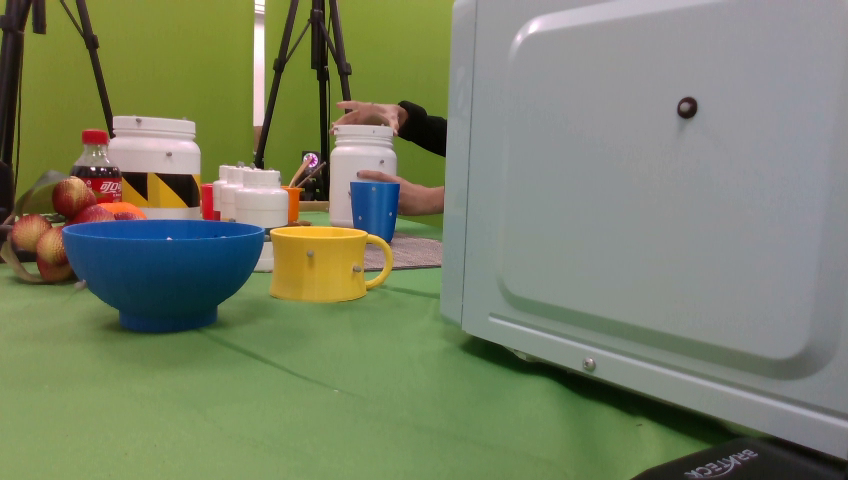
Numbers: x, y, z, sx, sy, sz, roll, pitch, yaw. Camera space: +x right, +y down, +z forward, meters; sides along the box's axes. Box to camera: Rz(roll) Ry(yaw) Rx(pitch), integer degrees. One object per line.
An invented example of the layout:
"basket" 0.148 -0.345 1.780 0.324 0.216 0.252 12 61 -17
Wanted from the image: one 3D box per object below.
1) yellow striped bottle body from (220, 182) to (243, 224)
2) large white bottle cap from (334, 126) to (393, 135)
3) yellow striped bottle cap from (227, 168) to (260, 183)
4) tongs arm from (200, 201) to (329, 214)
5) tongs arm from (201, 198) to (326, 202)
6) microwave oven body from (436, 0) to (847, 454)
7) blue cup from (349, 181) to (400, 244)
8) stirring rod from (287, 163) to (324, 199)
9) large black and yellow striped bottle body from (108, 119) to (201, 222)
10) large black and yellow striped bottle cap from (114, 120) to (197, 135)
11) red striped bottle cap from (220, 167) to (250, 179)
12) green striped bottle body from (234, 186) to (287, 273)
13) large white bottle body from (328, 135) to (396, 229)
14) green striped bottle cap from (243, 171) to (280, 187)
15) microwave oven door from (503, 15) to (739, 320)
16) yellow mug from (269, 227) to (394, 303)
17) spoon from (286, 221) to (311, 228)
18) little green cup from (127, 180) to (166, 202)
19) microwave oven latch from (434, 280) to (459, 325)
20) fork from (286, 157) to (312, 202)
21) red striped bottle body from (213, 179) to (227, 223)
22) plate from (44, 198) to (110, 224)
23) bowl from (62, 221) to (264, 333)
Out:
"yellow striped bottle body" -0.245 -0.036 0.825 0.063 0.120 0.063 3 8 0
"large white bottle cap" -0.118 -0.211 1.176 0.115 0.018 0.115 1 8 0
"yellow striped bottle cap" -0.243 -0.087 0.818 0.044 0.018 0.044 3 6 0
"tongs arm" -0.378 -0.079 1.440 0.387 0.026 0.050 -4 8 -44
"tongs arm" -0.433 -0.090 1.508 0.390 0.028 0.028 -1 2 -29
"microwave oven body" 0.279 -0.040 0.465 0.444 0.260 0.324 -3 9 -41
"blue cup" -0.083 -0.047 1.011 0.093 0.100 0.092 2 6 0
"stirring rod" -0.278 -0.105 1.293 0.176 0.006 0.014 -46 25 -18
"large black and yellow striped bottle body" -0.412 -0.088 0.930 0.131 0.184 0.130 3 7 0
"large black and yellow striped bottle cap" -0.407 -0.171 0.920 0.115 0.019 0.115 2 9 0
"red striped bottle cap" -0.281 -0.100 0.901 0.044 0.017 0.044 -1 5 0
"green striped bottle body" -0.200 -0.023 0.743 0.063 0.119 0.063 2 7 0
"large white bottle body" -0.120 -0.116 1.184 0.131 0.184 0.130 2 5 0
"green striped bottle cap" -0.198 -0.074 0.736 0.044 0.020 0.044 1 7 0
"microwave oven door" 0.218 -0.065 0.600 0.358 0.243 0.039 -4 10 -41
"yellow mug" -0.094 0.023 0.629 0.131 0.064 0.099 0 7 -22
"spoon" -0.232 -0.027 1.116 0.041 0.021 0.193 -22 6 4
"little green cup" -0.485 -0.086 1.061 0.061 0.038 0.061 1 7 0
"microwave oven latch" 0.044 0.045 0.470 0.079 0.029 0.030 -2 8 -39
"fork" -0.289 -0.116 1.321 0.028 0.019 0.207 6 51 19
"red striped bottle body" -0.284 -0.048 0.909 0.063 0.119 0.063 3 11 0
"plate" -0.617 -0.056 1.179 0.209 0.038 0.209 3 7 0
"bowl" -0.209 0.029 0.496 0.151 0.077 0.151 2 6 0
